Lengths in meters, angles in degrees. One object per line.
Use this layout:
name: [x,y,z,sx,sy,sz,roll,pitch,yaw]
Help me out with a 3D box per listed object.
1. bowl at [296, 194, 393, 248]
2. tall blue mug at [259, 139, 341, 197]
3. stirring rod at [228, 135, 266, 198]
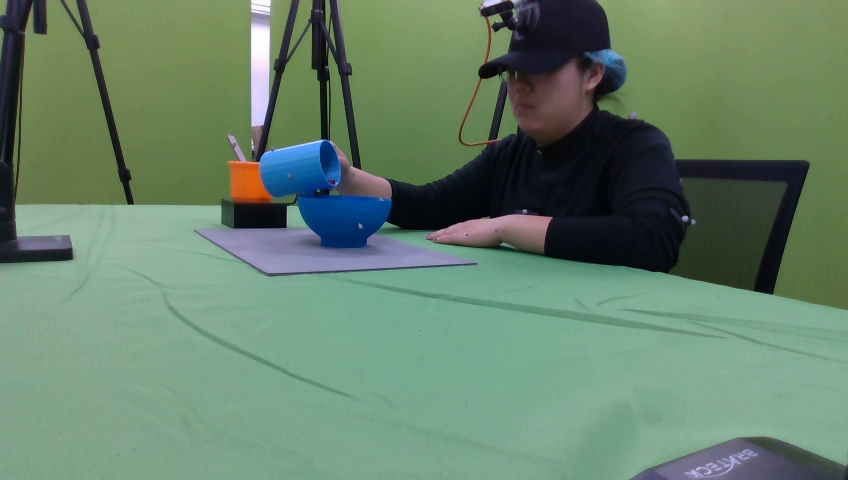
bowl: [-0.127,-0.030,0.964,0.151,0.077,0.151,2,7,0]
tall blue mug: [-0.199,-0.126,0.995,0.108,0.078,0.107,-9,43,17]
stirring rod: [-0.352,-0.148,1.198,0.014,0.006,0.175,-6,54,-44]
